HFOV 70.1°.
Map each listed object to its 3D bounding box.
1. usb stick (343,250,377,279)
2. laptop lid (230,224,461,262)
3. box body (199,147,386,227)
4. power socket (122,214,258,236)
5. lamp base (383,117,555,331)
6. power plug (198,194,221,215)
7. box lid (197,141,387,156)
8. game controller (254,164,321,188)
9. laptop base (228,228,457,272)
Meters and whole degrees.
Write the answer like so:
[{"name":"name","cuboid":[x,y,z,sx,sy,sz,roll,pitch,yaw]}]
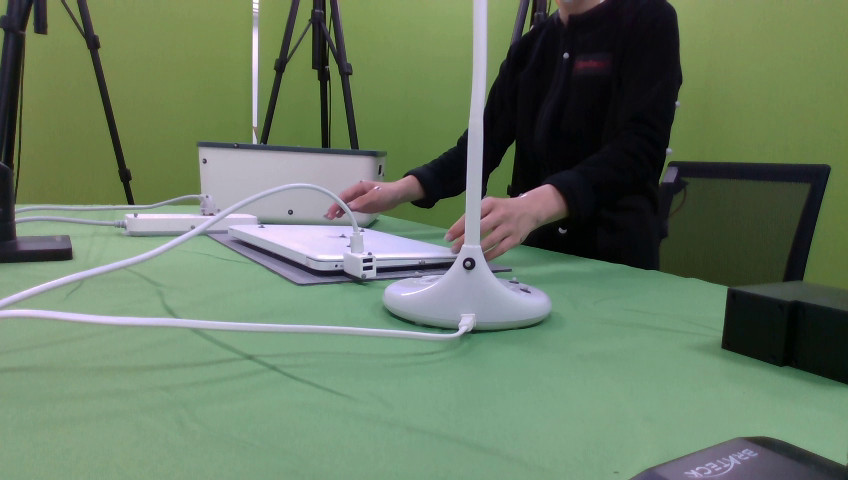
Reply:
[{"name":"usb stick","cuboid":[-0.076,0.026,0.687,0.021,0.027,0.059,-8,8,-31]},{"name":"laptop lid","cuboid":[-0.120,0.000,0.888,0.243,0.013,0.355,1,7,-33]},{"name":"box body","cuboid":[-0.277,-0.124,1.334,0.364,0.160,0.254,3,7,1]},{"name":"power socket","cuboid":[-0.398,-0.028,1.049,0.228,0.032,0.072,-3,8,-34]},{"name":"lamp base","cuboid":[0.045,-0.019,0.547,0.161,0.180,0.179,2,10,-4]},{"name":"power plug","cuboid":[-0.387,-0.056,1.089,0.035,0.052,0.072,-1,7,-22]},{"name":"box lid","cuboid":[-0.275,-0.198,1.325,0.372,0.015,0.263,3,8,1]},{"name":"game controller","cuboid":[-0.299,-0.139,1.319,0.097,0.051,0.155,-2,6,17]},{"name":"laptop base","cuboid":[-0.122,0.012,0.889,0.237,0.023,0.352,2,6,-35]}]
